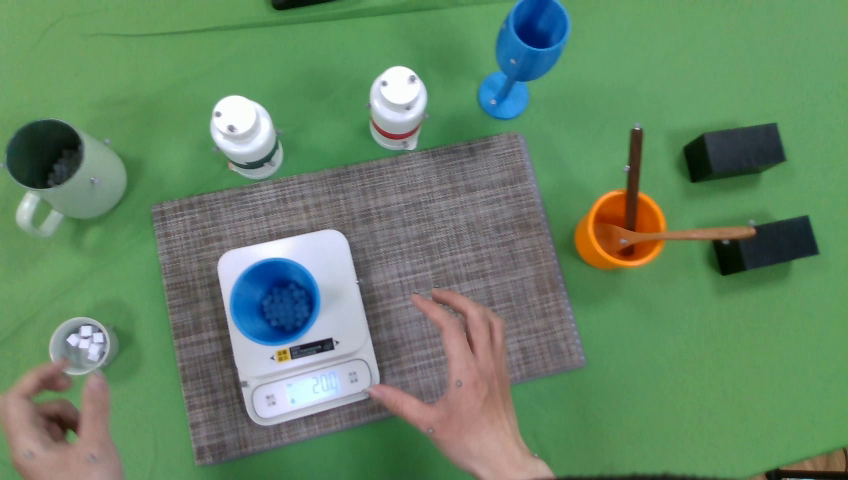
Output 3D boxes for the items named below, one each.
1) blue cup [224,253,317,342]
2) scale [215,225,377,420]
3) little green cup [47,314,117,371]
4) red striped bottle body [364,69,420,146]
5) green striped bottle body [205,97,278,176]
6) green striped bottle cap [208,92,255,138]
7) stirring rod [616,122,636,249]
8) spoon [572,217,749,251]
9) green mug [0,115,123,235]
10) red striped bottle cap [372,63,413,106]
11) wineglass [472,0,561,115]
[{"bbox_3d":[-0.149,0.062,0.624,0.093,0.100,0.092,1,82,-6],"label":"blue cup"},{"bbox_3d":[-0.145,0.090,0.686,0.149,0.031,0.200,-14,82,-8],"label":"scale"},{"bbox_3d":[-0.368,0.112,0.659,0.062,0.039,0.061,1,79,-7],"label":"little green cup"},{"bbox_3d":[-0.038,-0.157,0.699,0.063,0.120,0.063,1,79,-6],"label":"red striped bottle body"},{"bbox_3d":[-0.203,-0.117,0.675,0.063,0.119,0.063,1,79,-5],"label":"green striped bottle body"},{"bbox_3d":[-0.197,-0.129,0.621,0.044,0.020,0.044,1,80,-4],"label":"green striped bottle cap"},{"bbox_3d":[0.231,-0.056,0.694,0.014,0.178,0.005,-7,40,6],"label":"stirring rod"},{"bbox_3d":[0.261,-0.010,0.690,0.022,0.192,0.041,5,84,-49],"label":"spoon"},{"bbox_3d":[-0.396,-0.064,0.654,0.092,0.105,0.125,22,78,-2],"label":"green mug"},{"bbox_3d":[-0.033,-0.166,0.646,0.044,0.018,0.044,1,77,-5],"label":"red striped bottle cap"},{"bbox_3d":[0.101,-0.208,0.695,0.074,0.172,0.073,1,79,-5],"label":"wineglass"}]
